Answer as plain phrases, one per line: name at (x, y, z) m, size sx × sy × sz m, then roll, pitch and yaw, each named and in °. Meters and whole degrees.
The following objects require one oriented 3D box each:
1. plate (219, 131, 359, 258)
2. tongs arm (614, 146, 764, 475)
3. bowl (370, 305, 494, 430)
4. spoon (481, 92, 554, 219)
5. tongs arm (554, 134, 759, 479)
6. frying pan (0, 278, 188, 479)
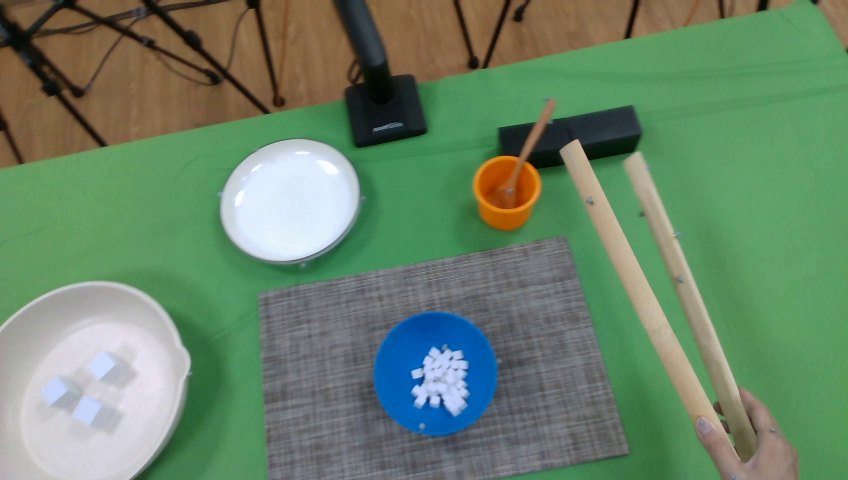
plate at (-0.197, -0.065, 0.903) m, size 0.207 × 0.039 × 0.206 m, roll -2°, pitch 67°, yaw 4°
tongs arm at (0.281, 0.061, 0.670) m, size 0.026 × 0.051 × 0.382 m, roll -34°, pitch 65°, yaw 39°
bowl at (0.012, 0.165, 0.762) m, size 0.151 × 0.077 × 0.150 m, roll -1°, pitch 67°, yaw 4°
spoon at (0.131, -0.113, 0.838) m, size 0.041 × 0.194 × 0.022 m, roll 36°, pitch 30°, yaw 21°
tongs arm at (0.229, 0.062, 0.621) m, size 0.028 × 0.028 × 0.385 m, roll -33°, pitch 75°, yaw 36°
frying pan at (-0.427, 0.280, 0.737) m, size 0.307 × 0.104 × 0.483 m, roll -13°, pitch 58°, yaw 0°
